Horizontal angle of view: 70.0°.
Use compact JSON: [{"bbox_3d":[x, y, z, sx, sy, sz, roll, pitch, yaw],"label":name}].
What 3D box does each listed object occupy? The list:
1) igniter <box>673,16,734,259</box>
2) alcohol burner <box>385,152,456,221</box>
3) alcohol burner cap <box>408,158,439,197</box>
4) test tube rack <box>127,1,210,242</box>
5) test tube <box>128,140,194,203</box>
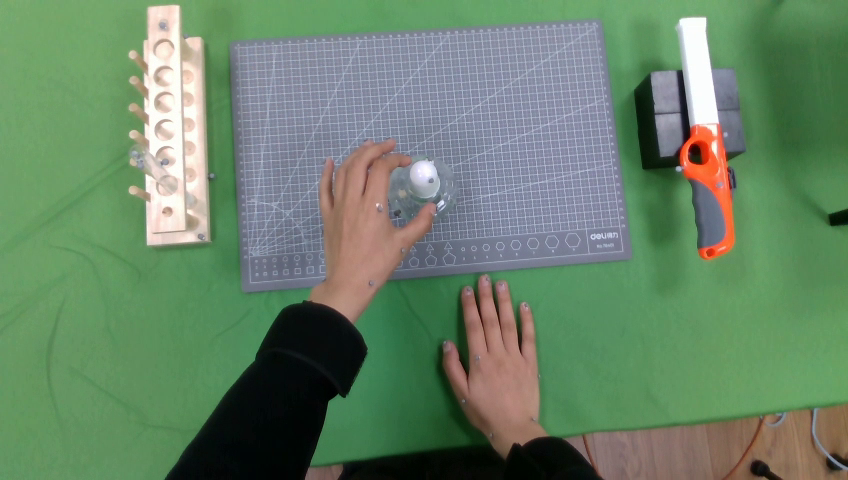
[{"bbox_3d":[0.308,-0.117,0.672,0.057,0.025,0.275,-2,81,0],"label":"igniter"},{"bbox_3d":[-0.003,-0.061,0.650,0.078,0.119,0.077,0,84,-2],"label":"alcohol burner"},{"bbox_3d":[-0.001,-0.066,0.615,0.034,0.048,0.033,0,77,2],"label":"alcohol burner cap"},{"bbox_3d":[-0.284,-0.125,0.661,0.067,0.085,0.241,-4,83,-3],"label":"test tube rack"},{"bbox_3d":[-0.258,-0.065,0.605,0.017,0.150,0.017,1,77,-4],"label":"test tube"}]
